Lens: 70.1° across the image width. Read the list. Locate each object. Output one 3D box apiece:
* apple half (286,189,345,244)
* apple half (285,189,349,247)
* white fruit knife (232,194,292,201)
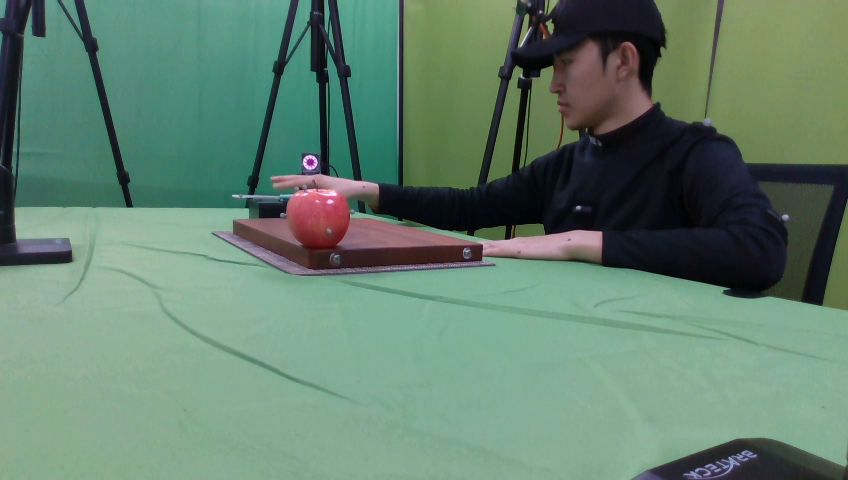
[{"bbox_3d":[-0.146,-0.033,0.801,0.081,0.081,0.032,-1,11,-23],"label":"apple half"},{"bbox_3d":[-0.132,-0.026,0.765,0.081,0.074,0.053,2,10,-22],"label":"apple half"},{"bbox_3d":[-0.298,-0.089,1.280,0.208,0.016,0.027,-1,-10,-20],"label":"white fruit knife"}]
